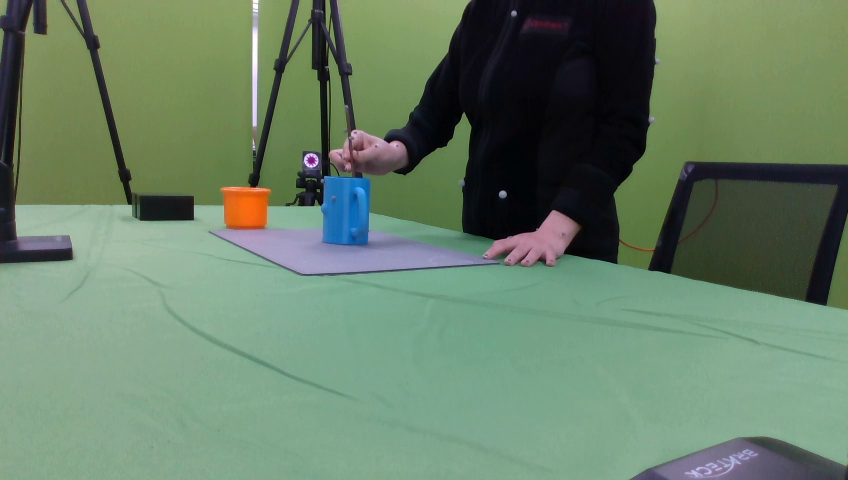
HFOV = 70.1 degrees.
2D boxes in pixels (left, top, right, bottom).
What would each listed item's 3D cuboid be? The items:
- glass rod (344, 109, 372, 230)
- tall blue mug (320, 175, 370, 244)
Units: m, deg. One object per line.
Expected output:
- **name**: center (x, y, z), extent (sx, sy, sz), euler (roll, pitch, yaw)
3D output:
- **glass rod**: center (-0.107, -0.114, 0.974), extent (0.008, 0.199, 0.008), euler (-12, -1, 0)
- **tall blue mug**: center (-0.116, -0.049, 0.991), extent (0.106, 0.108, 0.078), euler (7, 8, 33)
